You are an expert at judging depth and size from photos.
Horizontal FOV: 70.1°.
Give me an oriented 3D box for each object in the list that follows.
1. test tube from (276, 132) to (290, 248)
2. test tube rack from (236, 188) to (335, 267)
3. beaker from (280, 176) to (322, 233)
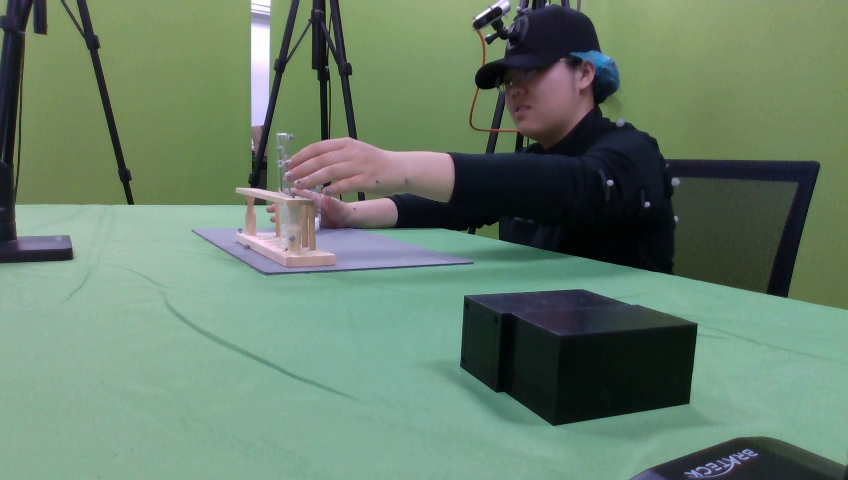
[{"bbox_3d":[-0.181,-0.063,0.778,0.017,0.150,0.017,0,9,0],"label":"test tube"},{"bbox_3d":[-0.202,-0.024,0.855,0.067,0.085,0.241,-2,8,-31],"label":"test tube rack"},{"bbox_3d":[-0.225,-0.065,1.111,0.074,0.100,0.083,-2,10,-30],"label":"beaker"}]
